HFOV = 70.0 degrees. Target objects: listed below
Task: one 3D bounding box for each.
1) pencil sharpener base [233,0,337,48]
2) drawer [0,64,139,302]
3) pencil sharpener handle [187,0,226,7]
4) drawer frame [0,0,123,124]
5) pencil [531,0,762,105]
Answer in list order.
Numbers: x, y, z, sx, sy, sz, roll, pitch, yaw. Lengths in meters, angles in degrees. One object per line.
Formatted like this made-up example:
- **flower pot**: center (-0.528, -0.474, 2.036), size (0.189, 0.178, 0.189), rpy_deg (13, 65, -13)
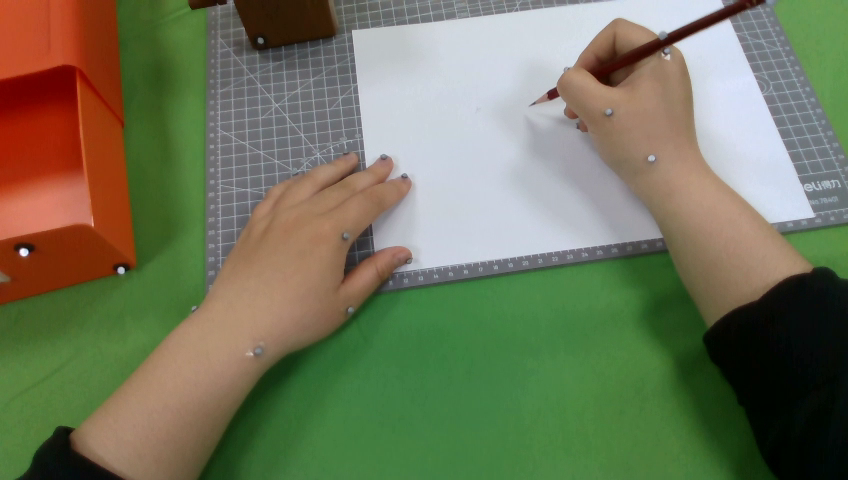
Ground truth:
- **pencil sharpener base**: center (-0.112, -0.201, 0.441), size (0.077, 0.108, 0.061), rpy_deg (-13, 66, -4)
- **drawer**: center (-0.309, -0.059, 0.402), size (0.194, 0.074, 0.210), rpy_deg (-16, 67, -5)
- **pencil sharpener handle**: center (-0.162, -0.194, 0.426), size (0.031, 0.068, 0.035), rpy_deg (-13, 63, -3)
- **drawer frame**: center (-0.341, -0.162, 0.446), size (0.202, 0.083, 0.211), rpy_deg (-15, 66, -5)
- **pencil**: center (0.136, -0.117, 0.366), size (0.012, 0.193, 0.012), rpy_deg (10, 74, -36)
